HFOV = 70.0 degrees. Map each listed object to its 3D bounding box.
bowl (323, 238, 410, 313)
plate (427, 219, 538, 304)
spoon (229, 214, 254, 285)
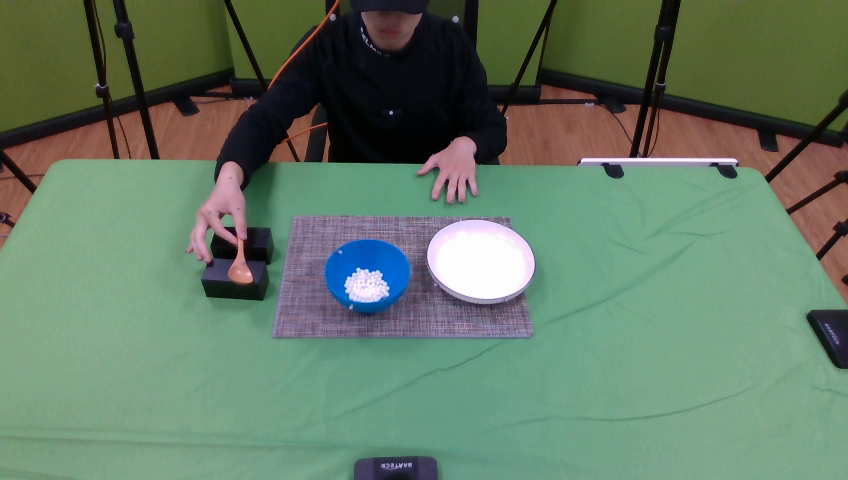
[{"bbox_3d":[-0.101,0.077,1.073,0.151,0.077,0.150,2,46,-2],"label":"bowl"},{"bbox_3d":[0.109,0.044,1.149,0.208,0.039,0.206,2,46,-2],"label":"plate"},{"bbox_3d":[-0.332,0.013,1.093,0.042,0.022,0.192,-6,47,-15],"label":"spoon"}]
